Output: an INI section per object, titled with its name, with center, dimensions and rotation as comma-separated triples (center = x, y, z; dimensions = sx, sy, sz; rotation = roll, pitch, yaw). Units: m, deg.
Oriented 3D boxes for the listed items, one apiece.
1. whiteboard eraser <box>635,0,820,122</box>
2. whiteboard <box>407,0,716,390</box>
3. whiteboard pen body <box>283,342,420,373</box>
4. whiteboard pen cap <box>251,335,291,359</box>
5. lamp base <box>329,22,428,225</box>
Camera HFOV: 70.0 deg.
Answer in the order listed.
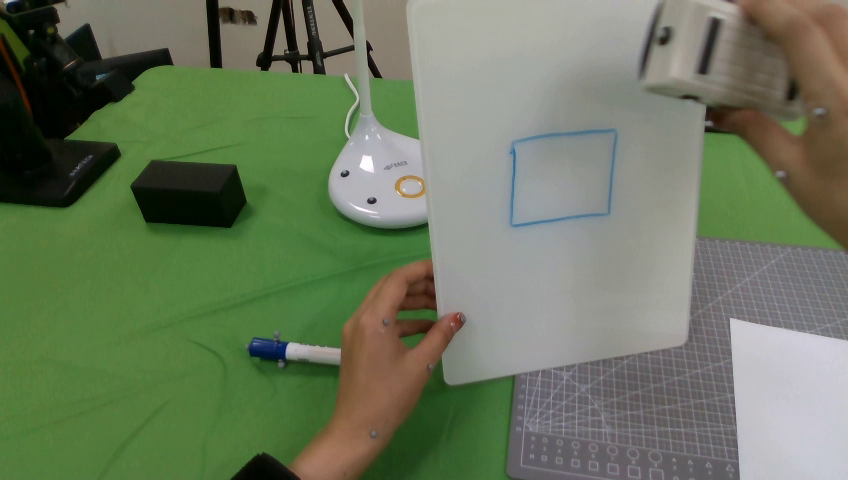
[whiteboard eraser]
center = 0.180, -0.107, 0.362
dimensions = 0.113, 0.055, 0.041
rotation = 6, 9, -22
[whiteboard]
center = 0.101, -0.056, 0.519
dimensions = 0.217, 0.307, 0.142
rotation = -8, 23, -5
[whiteboard pen body]
center = -0.073, 0.100, 0.521
dimensions = 0.141, 0.017, 0.017
rotation = 5, 42, 4
[whiteboard pen cap]
center = -0.132, 0.093, 0.526
dimensions = 0.033, 0.018, 0.018
rotation = 7, 42, 2
[lamp base]
center = -0.042, -0.134, 0.665
dimensions = 0.161, 0.182, 0.177
rotation = -28, 45, -26
